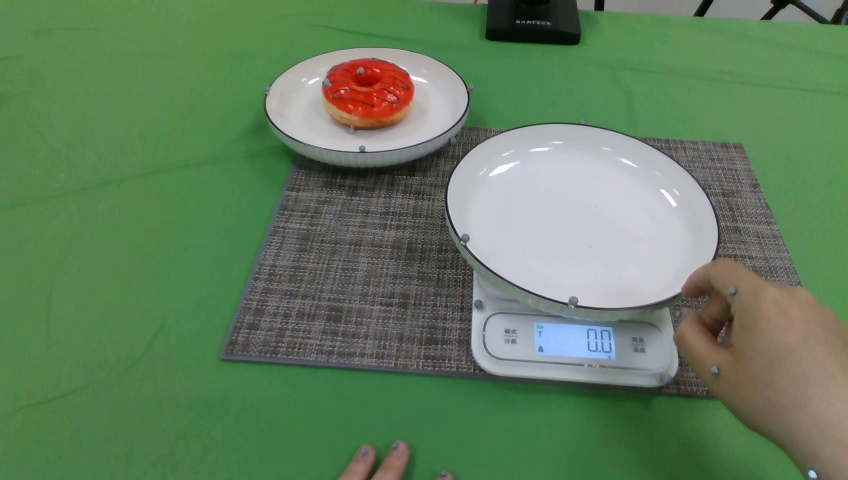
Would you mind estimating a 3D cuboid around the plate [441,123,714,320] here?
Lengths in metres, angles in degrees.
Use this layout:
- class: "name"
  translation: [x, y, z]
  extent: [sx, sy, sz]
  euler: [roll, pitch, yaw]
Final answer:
- class: "plate"
  translation: [0.116, -0.017, 0.481]
  extent: [0.208, 0.039, 0.205]
  euler: [1, 47, -1]

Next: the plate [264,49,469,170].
- class: "plate"
  translation: [-0.059, -0.135, 0.632]
  extent: [0.209, 0.038, 0.207]
  euler: [0, 44, 0]

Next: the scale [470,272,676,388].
- class: "scale"
  translation: [0.114, 0.022, 0.489]
  extent: [0.148, 0.032, 0.199]
  euler: [4, 47, 3]

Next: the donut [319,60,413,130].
- class: "donut"
  translation: [-0.060, -0.150, 0.632]
  extent: [0.099, 0.048, 0.098]
  euler: [2, 44, -1]
